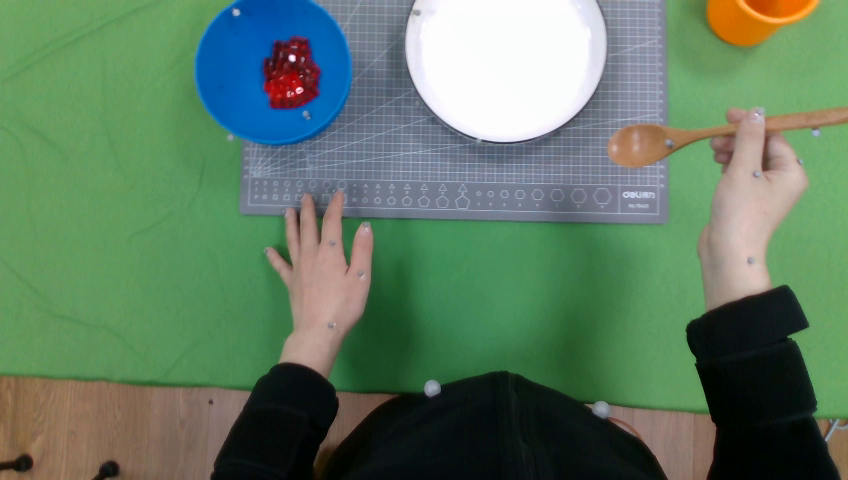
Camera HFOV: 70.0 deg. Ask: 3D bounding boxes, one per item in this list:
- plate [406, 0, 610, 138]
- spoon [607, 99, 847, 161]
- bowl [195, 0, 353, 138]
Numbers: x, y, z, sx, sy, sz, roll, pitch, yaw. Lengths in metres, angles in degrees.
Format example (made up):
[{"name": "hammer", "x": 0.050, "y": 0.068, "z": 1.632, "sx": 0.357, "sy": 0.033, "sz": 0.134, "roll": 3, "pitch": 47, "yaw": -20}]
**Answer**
[{"name": "plate", "x": 0.085, "y": -0.207, "z": 0.629, "sx": 0.209, "sy": 0.038, "sz": 0.208, "roll": 0, "pitch": 86, "yaw": 2}, {"name": "spoon", "x": 0.240, "y": -0.092, "z": 0.492, "sx": 0.022, "sy": 0.192, "sz": 0.041, "roll": 15, "pitch": 79, "yaw": -41}, {"name": "bowl", "x": -0.141, "y": -0.169, "z": 0.611, "sx": 0.151, "sy": 0.077, "sz": 0.151, "roll": 0, "pitch": 86, "yaw": 1}]
